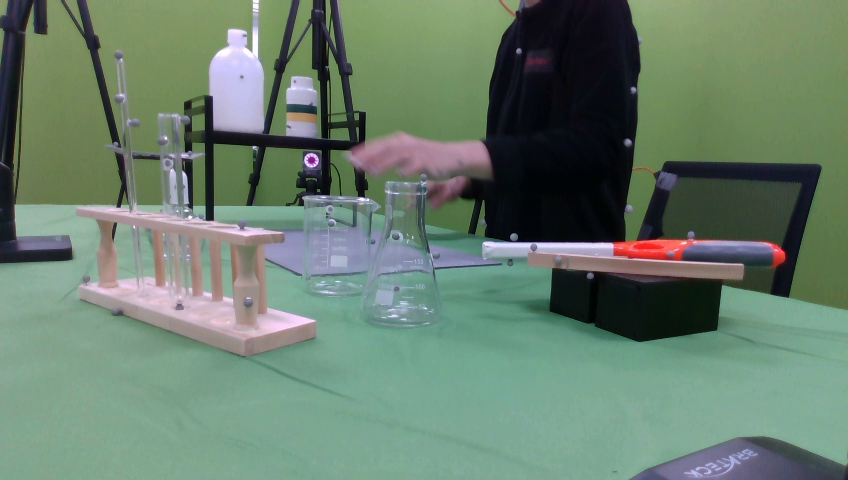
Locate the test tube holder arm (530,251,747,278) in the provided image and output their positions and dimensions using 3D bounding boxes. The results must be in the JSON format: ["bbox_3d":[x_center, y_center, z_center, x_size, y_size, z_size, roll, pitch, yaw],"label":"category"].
[{"bbox_3d":[0.182,0.022,0.523,0.178,0.015,0.013,3,7,12],"label":"test tube holder arm"}]

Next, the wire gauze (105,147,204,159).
[{"bbox_3d":[-0.407,-0.131,0.929,0.125,0.011,0.121,2,6,-11],"label":"wire gauze"}]

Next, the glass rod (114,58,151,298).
[{"bbox_3d":[-0.236,-0.044,0.492,0.008,0.199,0.008,0,15,0],"label":"glass rod"}]

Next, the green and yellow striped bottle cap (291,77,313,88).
[{"bbox_3d":[-0.250,-0.321,1.238,0.045,0.020,0.045,3,6,0],"label":"green and yellow striped bottle cap"}]

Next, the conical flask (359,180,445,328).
[{"bbox_3d":[-0.017,0.010,0.522,0.075,0.122,0.075,2,7,0],"label":"conical flask"}]

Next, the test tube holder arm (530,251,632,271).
[{"bbox_3d":[0.139,0.019,0.538,0.087,0.015,0.010,3,7,13],"label":"test tube holder arm"}]

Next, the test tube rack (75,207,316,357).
[{"bbox_3d":[-0.196,0.023,0.500,0.241,0.085,0.067,8,9,36],"label":"test tube rack"}]

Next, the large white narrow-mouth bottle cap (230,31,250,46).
[{"bbox_3d":[-0.355,-0.388,1.167,0.038,0.024,0.037,4,6,0],"label":"large white narrow-mouth bottle cap"}]

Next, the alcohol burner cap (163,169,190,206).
[{"bbox_3d":[-0.321,-0.068,0.782,0.034,0.048,0.034,1,7,0],"label":"alcohol burner cap"}]

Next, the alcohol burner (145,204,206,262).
[{"bbox_3d":[-0.321,-0.032,0.788,0.078,0.119,0.078,1,7,0],"label":"alcohol burner"}]

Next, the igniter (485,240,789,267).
[{"bbox_3d":[0.197,0.012,0.585,0.276,0.025,0.057,1,5,12],"label":"igniter"}]

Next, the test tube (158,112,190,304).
[{"bbox_3d":[-0.194,-0.023,0.469,0.017,0.150,0.017,2,12,0],"label":"test tube"}]

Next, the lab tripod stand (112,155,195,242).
[{"bbox_3d":[-0.405,-0.064,0.931,0.148,0.131,0.148,1,7,0],"label":"lab tripod stand"}]

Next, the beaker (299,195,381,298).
[{"bbox_3d":[-0.087,0.006,0.626,0.084,0.100,0.074,0,8,-17],"label":"beaker"}]

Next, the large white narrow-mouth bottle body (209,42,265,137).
[{"bbox_3d":[-0.361,-0.303,1.175,0.102,0.194,0.102,4,6,0],"label":"large white narrow-mouth bottle body"}]

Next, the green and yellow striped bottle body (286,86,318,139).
[{"bbox_3d":[-0.251,-0.270,1.245,0.063,0.119,0.063,2,7,0],"label":"green and yellow striped bottle body"}]
